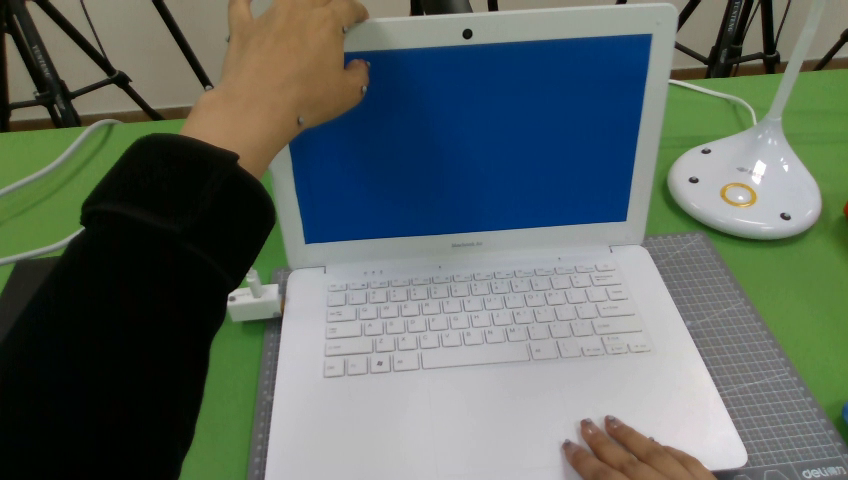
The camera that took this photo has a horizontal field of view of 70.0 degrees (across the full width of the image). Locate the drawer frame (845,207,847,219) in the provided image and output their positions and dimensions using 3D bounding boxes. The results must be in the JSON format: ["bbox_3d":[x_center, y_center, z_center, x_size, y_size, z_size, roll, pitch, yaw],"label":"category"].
[{"bbox_3d":[0.556,0.009,0.558,0.202,0.083,0.211,-6,41,-4],"label":"drawer frame"}]

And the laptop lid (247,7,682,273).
[{"bbox_3d":[0.040,-0.077,0.541,0.357,0.243,0.013,-6,32,-3],"label":"laptop lid"}]

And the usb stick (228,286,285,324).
[{"bbox_3d":[-0.145,0.059,0.552,0.059,0.027,0.021,-4,39,-5],"label":"usb stick"}]

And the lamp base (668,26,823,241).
[{"bbox_3d":[0.360,-0.119,0.633,0.159,0.182,0.178,19,44,22],"label":"lamp base"}]

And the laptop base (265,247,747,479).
[{"bbox_3d":[0.054,0.103,0.516,0.355,0.023,0.233,-4,45,-3],"label":"laptop base"}]

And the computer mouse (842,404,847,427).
[{"bbox_3d":[0.360,0.158,0.432,0.063,0.041,0.116,-5,38,-1],"label":"computer mouse"}]
